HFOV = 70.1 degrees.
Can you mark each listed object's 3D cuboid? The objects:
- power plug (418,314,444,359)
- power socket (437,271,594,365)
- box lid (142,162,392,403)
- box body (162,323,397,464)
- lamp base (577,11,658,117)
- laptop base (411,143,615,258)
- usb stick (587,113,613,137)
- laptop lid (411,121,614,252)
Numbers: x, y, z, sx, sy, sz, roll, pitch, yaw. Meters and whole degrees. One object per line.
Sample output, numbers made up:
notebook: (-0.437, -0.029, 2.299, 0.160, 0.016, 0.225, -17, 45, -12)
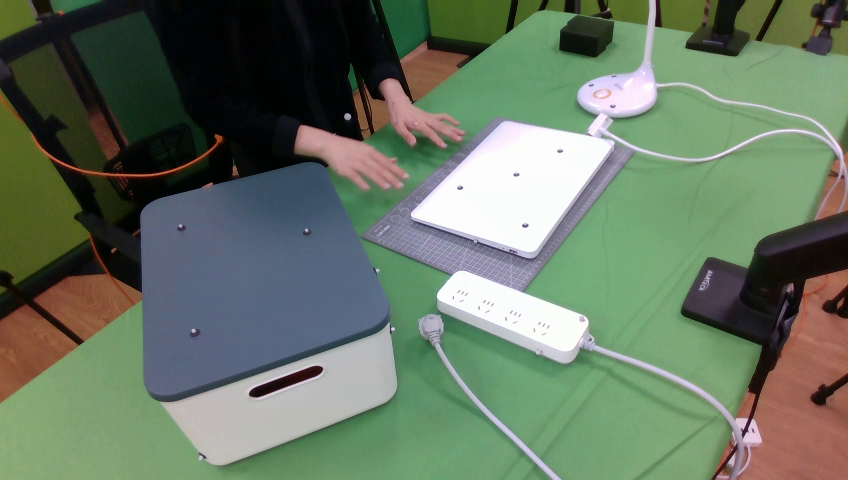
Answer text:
power plug: (0.009, 0.132, 0.805, 0.035, 0.053, 0.072, 0, 57, 5)
power socket: (0.118, 0.103, 0.829, 0.225, 0.033, 0.072, 20, 49, 28)
box lid: (-0.212, 0.024, 0.752, 0.264, 0.015, 0.368, -17, 41, -13)
box body: (-0.205, 0.080, 0.802, 0.255, 0.161, 0.361, -18, 41, -13)
lamp base: (0.407, -0.365, 1.223, 0.180, 0.181, 0.159, -20, 42, -18)
laptop base: (0.167, -0.102, 1.074, 0.234, 0.023, 0.355, 16, 45, 30)
usb stick: (0.329, -0.210, 1.149, 0.022, 0.059, 0.027, 29, 19, -27)
laptop lid: (0.164, -0.112, 1.068, 0.240, 0.013, 0.357, 19, 46, 30)
